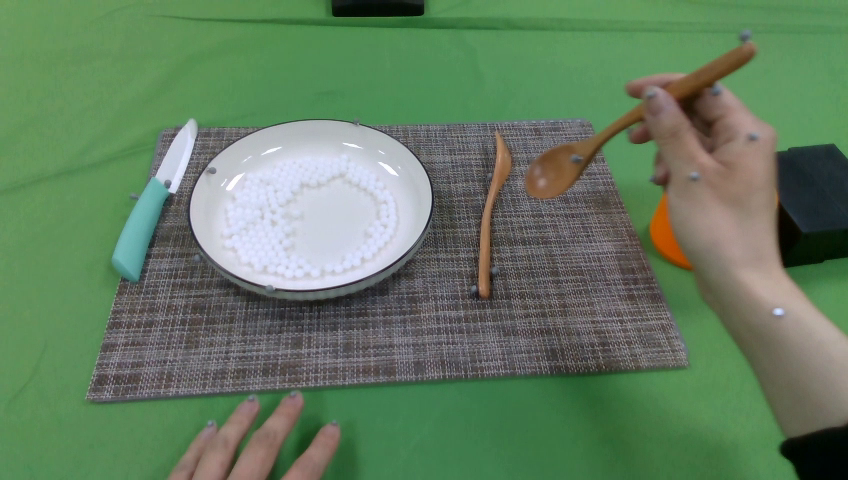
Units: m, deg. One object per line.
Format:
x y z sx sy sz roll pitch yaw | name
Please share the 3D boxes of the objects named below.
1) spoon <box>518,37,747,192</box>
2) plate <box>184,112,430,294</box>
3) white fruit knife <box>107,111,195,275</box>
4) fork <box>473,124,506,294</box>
0.125 -0.078 0.405 0.022 0.193 0.041 9 70 -24 | spoon
-0.098 -0.034 0.535 0.209 0.038 0.207 2 50 -2 | plate
-0.245 -0.054 0.555 0.027 0.016 0.205 23 44 -22 | white fruit knife
0.060 -0.036 0.560 0.018 0.028 0.205 -10 47 28 | fork
